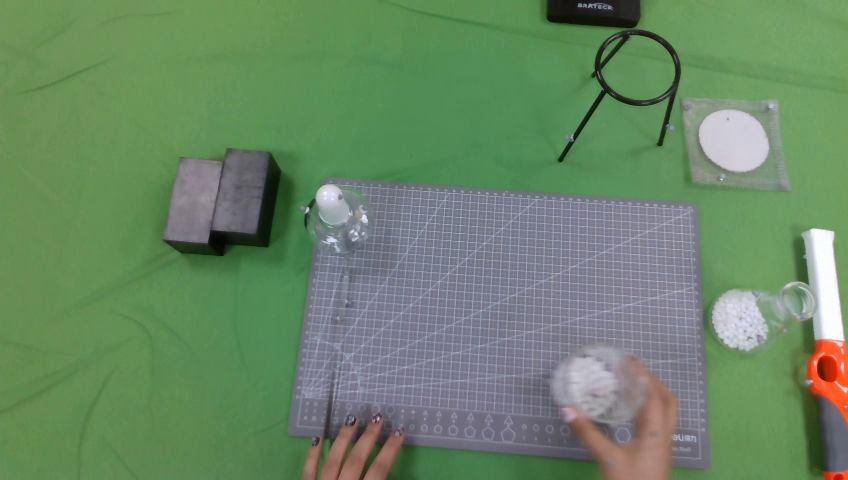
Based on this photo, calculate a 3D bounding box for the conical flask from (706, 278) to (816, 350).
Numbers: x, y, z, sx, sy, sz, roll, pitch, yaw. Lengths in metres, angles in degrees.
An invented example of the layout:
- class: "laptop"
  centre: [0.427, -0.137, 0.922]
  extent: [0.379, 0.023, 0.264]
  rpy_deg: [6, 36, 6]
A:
- class: "conical flask"
  centre: [0.354, 0.071, 0.630]
  extent: [0.075, 0.122, 0.075]
  rpy_deg: [0, 73, 1]

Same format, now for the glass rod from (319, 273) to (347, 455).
- class: "glass rod"
  centre: [-0.099, 0.133, 0.669]
  extent: [0.008, 0.008, 0.198]
  rpy_deg: [5, 77, 2]

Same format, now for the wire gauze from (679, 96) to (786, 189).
- class: "wire gauze"
  centre: [0.381, -0.124, 0.747]
  extent: [0.125, 0.011, 0.121]
  rpy_deg: [3, 74, -1]

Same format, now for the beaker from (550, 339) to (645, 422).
- class: "beaker"
  centre: [0.172, 0.141, 0.613]
  extent: [0.084, 0.101, 0.073]
  rpy_deg: [-30, 76, -7]

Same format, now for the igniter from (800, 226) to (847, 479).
- class: "igniter"
  centre: [0.444, 0.118, 0.666]
  extent: [0.057, 0.025, 0.275]
  rpy_deg: [8, 74, -9]

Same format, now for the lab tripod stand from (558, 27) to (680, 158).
- class: "lab tripod stand"
  centre: [0.221, -0.162, 0.693]
  extent: [0.148, 0.132, 0.147]
  rpy_deg: [0, 75, 0]

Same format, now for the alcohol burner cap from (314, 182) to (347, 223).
- class: "alcohol burner cap"
  centre: [-0.098, -0.042, 0.628]
  extent: [0.034, 0.048, 0.033]
  rpy_deg: [1, 66, -1]

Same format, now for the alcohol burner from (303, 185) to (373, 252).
- class: "alcohol burner"
  centre: [-0.097, -0.030, 0.661]
  extent: [0.078, 0.120, 0.077]
  rpy_deg: [-1, 74, 2]
